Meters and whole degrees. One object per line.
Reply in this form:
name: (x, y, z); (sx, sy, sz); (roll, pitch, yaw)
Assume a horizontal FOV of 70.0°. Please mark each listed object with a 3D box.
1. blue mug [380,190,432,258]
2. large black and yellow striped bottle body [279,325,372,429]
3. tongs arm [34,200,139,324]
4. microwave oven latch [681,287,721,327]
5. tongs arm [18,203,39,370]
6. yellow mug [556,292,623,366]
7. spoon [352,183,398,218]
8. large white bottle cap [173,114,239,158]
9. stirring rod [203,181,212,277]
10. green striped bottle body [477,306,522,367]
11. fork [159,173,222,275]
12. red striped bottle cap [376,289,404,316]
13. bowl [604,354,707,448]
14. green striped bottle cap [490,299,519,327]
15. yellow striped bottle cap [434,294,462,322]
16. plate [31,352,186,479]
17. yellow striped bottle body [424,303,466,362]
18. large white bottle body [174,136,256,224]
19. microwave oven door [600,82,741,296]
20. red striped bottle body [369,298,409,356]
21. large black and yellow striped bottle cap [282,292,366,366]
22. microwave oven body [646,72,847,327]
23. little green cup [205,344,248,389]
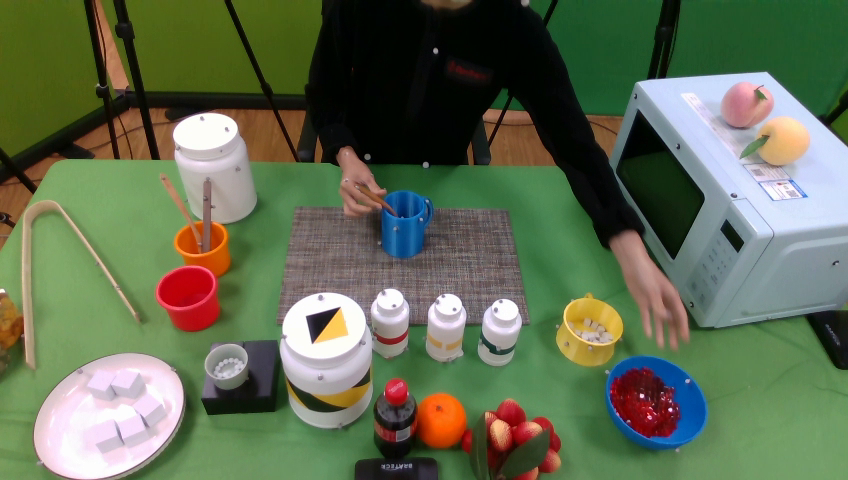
blue mug: (-0.030, -0.037, 1.169); (0.116, 0.106, 0.082); (-28, 54, -28)
large black and yellow striped bottle body: (-0.143, 0.181, 0.900); (0.131, 0.185, 0.130); (2, 46, -2)
tongs arm: (-0.622, 0.034, 1.105); (0.051, 0.026, 0.382); (-31, 55, -26)
microwave oven latch: (0.494, 0.119, 1.087); (0.030, 0.029, 0.078); (-6, 46, -9)
tongs arm: (-0.698, 0.069, 1.069); (0.028, 0.028, 0.385); (-20, 50, -13)
yellow mug: (0.285, 0.145, 1.052); (0.100, 0.064, 0.130); (8, 46, 3)
spoon: (-0.068, -0.056, 1.125); (0.021, 0.195, 0.041); (-36, 46, 11)
large white bottle cap: (-0.403, -0.195, 1.122); (0.115, 0.018, 0.114); (2, 47, -2)
stirring rod: (-0.396, -0.021, 1.108); (0.014, 0.006, 0.176); (-1, 89, 0)
green striped bottle body: (0.124, 0.151, 0.995); (0.063, 0.120, 0.063); (2, 46, -2)
fork: (-0.427, -0.029, 1.103); (0.028, 0.018, 0.207); (-31, 99, -30)
red striped bottle cap: (-0.055, 0.098, 0.958); (0.044, 0.018, 0.044); (0, 48, 0)
bowl: (0.346, 0.261, 0.937); (0.151, 0.077, 0.150); (2, 46, -2)
green striped bottle cap: (0.127, 0.115, 0.958); (0.044, 0.020, 0.044); (3, 48, -3)
yellow striped bottle cap: (0.037, 0.107, 0.958); (0.044, 0.019, 0.044); (2, 45, -2)
plate: (-0.459, 0.262, 0.897); (0.209, 0.038, 0.208); (2, 46, -2)
yellow striped bottle body: (0.035, 0.143, 0.995); (0.063, 0.121, 0.062); (3, 46, -3)
large white bottle body: (-0.408, -0.137, 1.183); (0.131, 0.185, 0.130); (2, 46, -2)
microwave oven door: (0.453, -0.106, 1.161); (0.039, 0.245, 0.353); (-5, 47, -12)
red striped bottle body: (-0.058, 0.134, 0.997); (0.063, 0.120, 0.062); (4, 47, -4)
large black and yellow striped bottle cap: (-0.138, 0.121, 0.841); (0.115, 0.019, 0.114); (3, 47, -3)
microwave oven body: (0.607, -0.089, 1.163); (0.326, 0.261, 0.438); (-7, 46, -10)
little green cup: (-0.293, 0.191, 0.909); (0.061, 0.039, 0.061); (1, 47, -1)
